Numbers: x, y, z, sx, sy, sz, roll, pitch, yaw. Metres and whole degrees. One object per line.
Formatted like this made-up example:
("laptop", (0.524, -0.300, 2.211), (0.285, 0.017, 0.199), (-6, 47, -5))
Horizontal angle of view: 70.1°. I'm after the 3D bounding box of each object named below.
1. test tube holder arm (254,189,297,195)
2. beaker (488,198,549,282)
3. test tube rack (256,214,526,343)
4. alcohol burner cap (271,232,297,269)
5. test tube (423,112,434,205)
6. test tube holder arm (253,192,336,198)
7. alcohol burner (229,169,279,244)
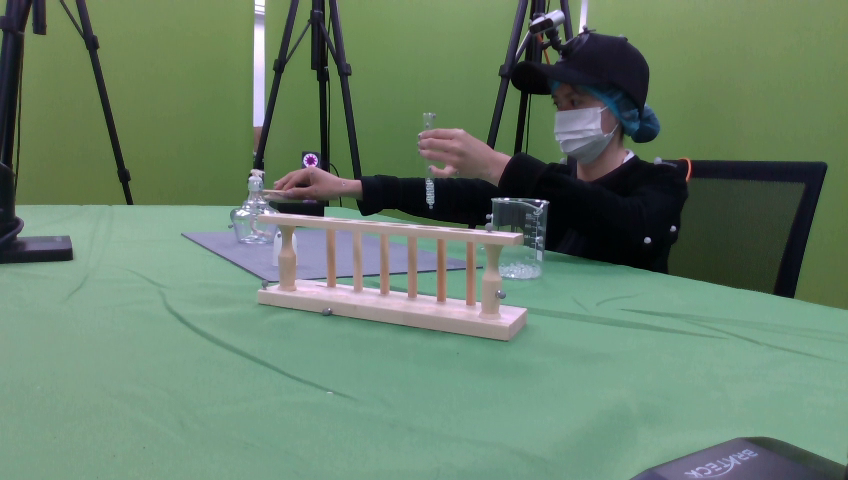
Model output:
("test tube holder arm", (-0.299, -0.097, 1.220), (0.088, 0.010, 0.015), (-2, 17, -37))
("beaker", (0.120, -0.001, 0.768), (0.074, 0.100, 0.083), (-1, 9, -25))
("test tube rack", (-0.032, 0.027, 0.547), (0.241, 0.085, 0.067), (6, 7, 22))
("alcohol burner cap", (-0.175, 0.012, 0.760), (0.034, 0.048, 0.034), (2, 7, 0))
("test tube", (0.008, -0.132, 0.986), (0.017, 0.150, 0.017), (-2, 10, 1))
("test tube holder arm", (-0.263, -0.093, 1.249), (0.179, 0.013, 0.015), (-3, 18, -37))
("alcohol burner", (-0.268, -0.053, 0.958), (0.078, 0.119, 0.078), (2, 5, 0))
